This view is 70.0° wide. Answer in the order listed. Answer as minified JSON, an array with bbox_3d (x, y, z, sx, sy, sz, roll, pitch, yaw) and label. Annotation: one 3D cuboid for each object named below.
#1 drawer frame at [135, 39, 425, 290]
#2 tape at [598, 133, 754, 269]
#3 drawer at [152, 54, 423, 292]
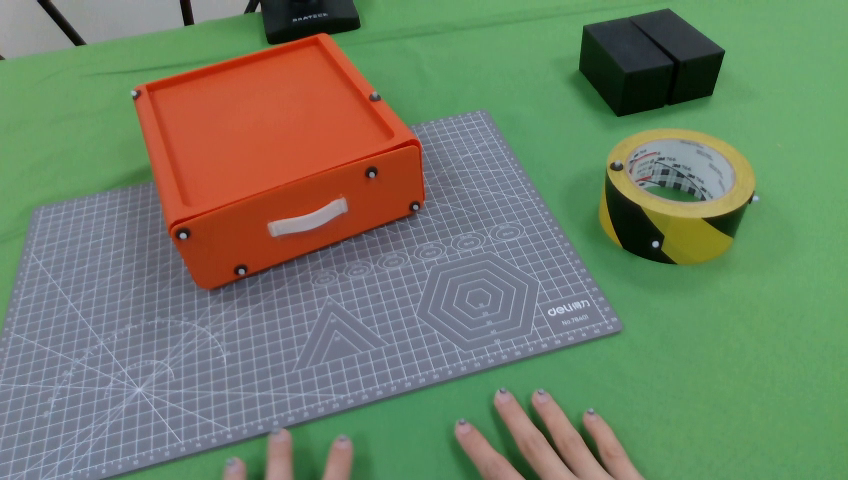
[{"bbox_3d":[-0.134,-0.080,0.545,0.202,0.083,0.211,-22,47,-16],"label":"drawer frame"},{"bbox_3d":[0.201,-0.035,0.495,0.117,0.053,0.115,-2,45,2],"label":"tape"},{"bbox_3d":[-0.132,-0.075,0.542,0.195,0.074,0.209,-22,47,-15],"label":"drawer"}]
